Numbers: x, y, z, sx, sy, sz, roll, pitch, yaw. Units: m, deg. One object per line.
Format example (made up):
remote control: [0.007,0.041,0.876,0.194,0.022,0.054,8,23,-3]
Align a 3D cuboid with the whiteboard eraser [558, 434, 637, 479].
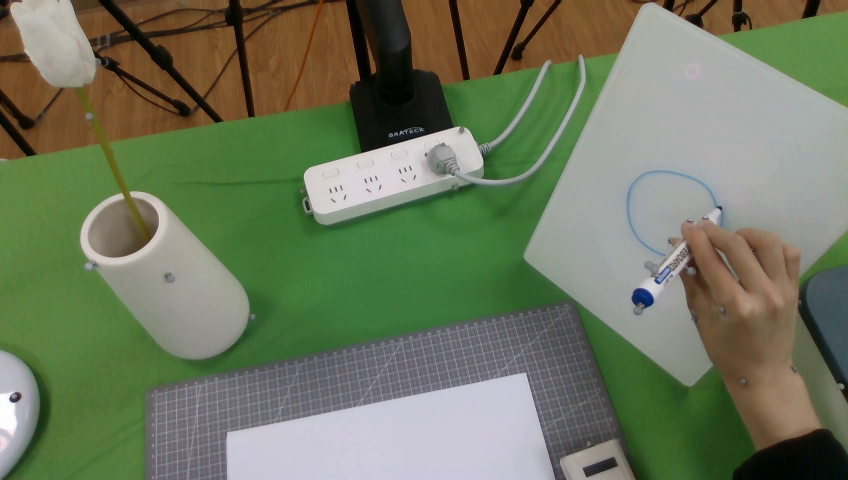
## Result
whiteboard eraser: [0.165,0.233,0.532,0.056,0.042,0.111,-16,61,-9]

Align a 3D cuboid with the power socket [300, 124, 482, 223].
power socket: [-0.037,-0.080,0.720,0.227,0.033,0.071,-16,62,-8]

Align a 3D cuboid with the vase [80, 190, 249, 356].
vase: [-0.236,0.036,0.565,0.098,0.201,0.097,-1,60,3]

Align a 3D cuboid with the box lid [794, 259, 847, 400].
box lid: [0.455,0.155,0.417,0.263,0.015,0.368,-12,62,-6]

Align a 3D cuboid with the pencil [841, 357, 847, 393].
pencil: [0.405,0.202,0.559,0.012,0.012,0.192,7,64,6]

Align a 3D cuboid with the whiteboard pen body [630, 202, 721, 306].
whiteboard pen body: [0.195,0.005,0.459,0.017,0.017,0.140,39,55,21]

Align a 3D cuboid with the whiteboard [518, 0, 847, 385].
whiteboard: [0.259,-0.049,0.575,0.215,0.307,0.144,40,50,22]

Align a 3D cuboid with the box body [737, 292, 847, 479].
box body: [0.458,0.194,0.481,0.254,0.161,0.360,-12,61,-5]

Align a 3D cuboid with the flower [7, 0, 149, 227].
flower: [-0.235,-0.021,0.502,0.038,0.365,0.043,-22,44,-18]

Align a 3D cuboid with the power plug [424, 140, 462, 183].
power plug: [0.020,-0.082,0.693,0.035,0.053,0.072,-8,62,-2]

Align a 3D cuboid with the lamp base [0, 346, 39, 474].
lamp base: [-0.474,0.135,0.526,0.178,0.182,0.160,17,62,14]
